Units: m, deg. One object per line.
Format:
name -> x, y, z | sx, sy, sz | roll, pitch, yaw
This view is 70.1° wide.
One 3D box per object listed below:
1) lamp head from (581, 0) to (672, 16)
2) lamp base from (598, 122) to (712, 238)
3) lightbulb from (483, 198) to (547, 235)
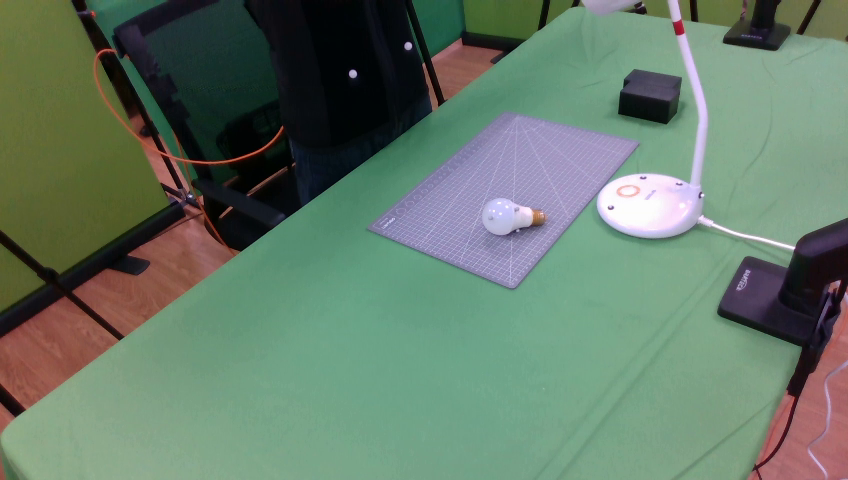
lamp head -> 0.261, -0.338, 0.737 | 0.122, 0.113, 0.112 | 9, 42, 42
lamp base -> 0.365, -0.113, 0.925 | 0.178, 0.181, 0.161 | 20, 48, 26
lightbulb -> 0.147, -0.037, 0.974 | 0.108, 0.059, 0.059 | 1, 39, -12
